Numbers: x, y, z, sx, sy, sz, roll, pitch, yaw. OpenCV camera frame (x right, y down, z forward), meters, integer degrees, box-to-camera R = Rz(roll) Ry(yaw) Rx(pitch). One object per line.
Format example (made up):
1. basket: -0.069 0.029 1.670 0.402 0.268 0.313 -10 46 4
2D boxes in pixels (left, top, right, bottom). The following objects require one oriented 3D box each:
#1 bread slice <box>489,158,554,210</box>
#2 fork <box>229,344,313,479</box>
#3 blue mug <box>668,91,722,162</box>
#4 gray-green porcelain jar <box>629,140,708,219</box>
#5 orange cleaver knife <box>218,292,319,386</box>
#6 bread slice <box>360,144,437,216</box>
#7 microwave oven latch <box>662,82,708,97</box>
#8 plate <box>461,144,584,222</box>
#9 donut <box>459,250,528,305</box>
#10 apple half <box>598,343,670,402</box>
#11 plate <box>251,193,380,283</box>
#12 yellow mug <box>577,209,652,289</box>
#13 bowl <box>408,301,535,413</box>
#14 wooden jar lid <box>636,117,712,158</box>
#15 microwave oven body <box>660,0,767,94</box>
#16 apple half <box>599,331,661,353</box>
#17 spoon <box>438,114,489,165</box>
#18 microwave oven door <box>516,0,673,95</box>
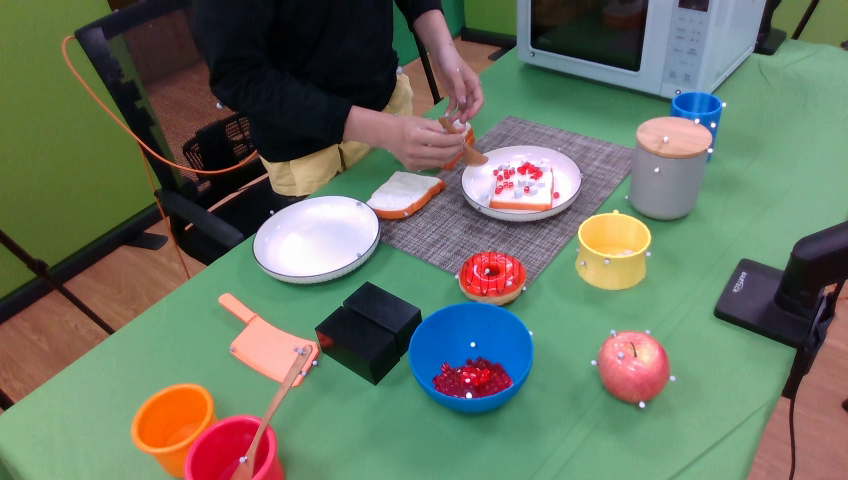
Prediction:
1. bread slice: 0.173 -0.100 1.047 0.104 0.019 0.131 4 42 12
2. fork: -0.173 0.205 0.662 0.028 0.019 0.207 29 94 36
3. blue mug: 0.474 -0.207 1.078 0.082 0.106 0.116 4 42 13
4. gray-green porcelain jar: 0.383 -0.105 0.958 0.106 0.127 0.105 -4 41 4
5. orange cleaver knife: -0.235 0.136 0.850 0.209 0.012 0.077 25 56 30
6. bread slice: -0.053 -0.104 1.045 0.106 0.018 0.134 18 68 22
7. microwave oven latch: 0.518 -0.298 1.202 0.078 0.029 0.030 28 53 35
8. plate: 0.167 -0.095 1.040 0.207 0.039 0.206 -4 41 4
9. donut: 0.100 0.053 0.872 0.099 0.048 0.098 -4 40 4
10. apple half: 0.247 0.161 0.710 0.081 0.075 0.053 2 47 5
11. plate: -0.174 -0.001 0.985 0.209 0.038 0.208 -4 41 4
12. yellow mug: 0.279 0.004 0.893 0.099 0.064 0.130 5 41 15
13. bowl: 0.060 0.156 0.739 0.151 0.077 0.150 -4 40 4
14. wooden jar lid: 0.377 -0.151 0.917 0.108 0.021 0.108 -2 42 3
15. microwave oven body: 0.473 -0.516 1.313 0.438 0.261 0.327 26 51 34
16. apple half: 0.249 0.134 0.738 0.081 0.081 0.032 -1 46 7
17. spoon: 0.058 -0.154 0.942 0.041 0.195 0.021 -13 69 21
18. microwave oven door: 0.344 -0.458 1.257 0.353 0.245 0.039 26 51 33
